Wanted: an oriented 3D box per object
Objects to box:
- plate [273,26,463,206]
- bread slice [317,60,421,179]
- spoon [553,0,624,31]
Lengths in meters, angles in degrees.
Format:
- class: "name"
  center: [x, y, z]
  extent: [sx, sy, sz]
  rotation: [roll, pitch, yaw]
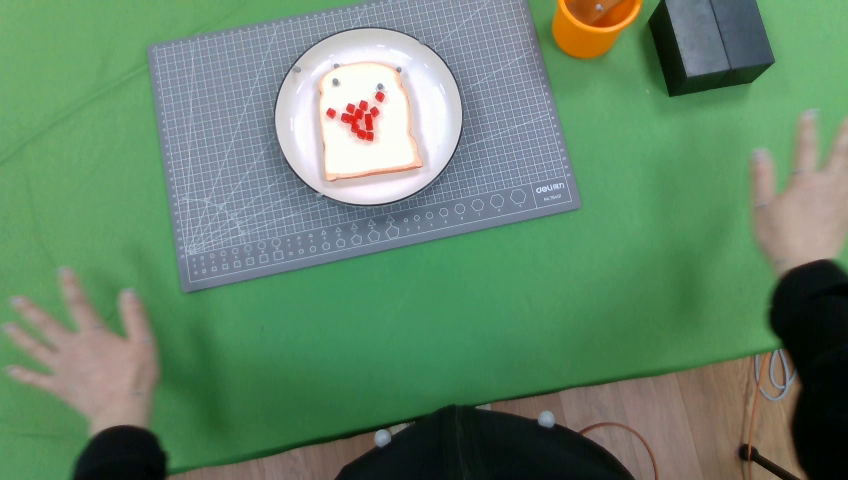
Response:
- class: "plate"
  center: [-0.061, -0.136, 0.678]
  extent: [0.209, 0.038, 0.208]
  rotation: [0, 79, 0]
- class: "bread slice"
  center: [-0.069, -0.136, 0.679]
  extent: [0.107, 0.018, 0.133]
  rotation: [-12, 79, -3]
- class: "spoon"
  center: [0.225, -0.262, 0.648]
  extent: [0.022, 0.192, 0.041]
  rotation: [24, 72, -40]
